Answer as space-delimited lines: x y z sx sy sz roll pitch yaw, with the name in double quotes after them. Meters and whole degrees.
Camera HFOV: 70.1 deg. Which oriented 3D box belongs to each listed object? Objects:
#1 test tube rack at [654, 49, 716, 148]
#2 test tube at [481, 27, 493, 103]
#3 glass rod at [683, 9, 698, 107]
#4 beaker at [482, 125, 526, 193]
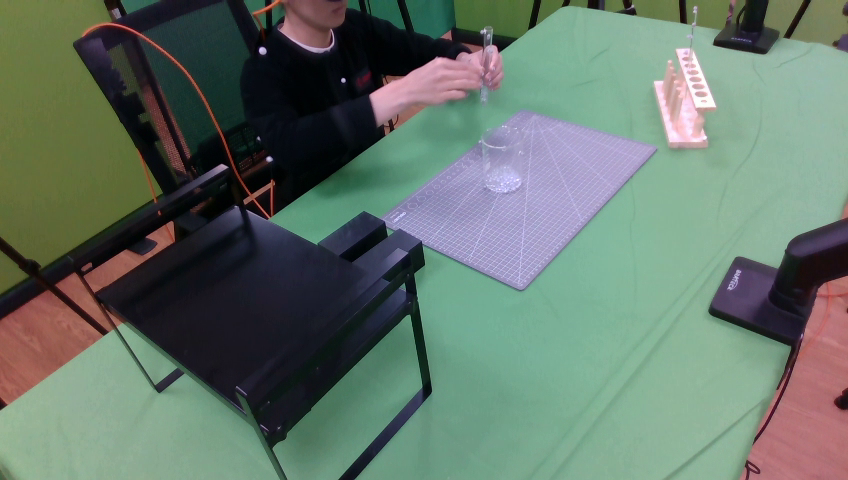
0.502 -0.281 1.176 0.066 0.085 0.241 2 41 11 "test tube rack"
0.116 -0.318 1.113 0.017 0.151 0.017 -1 46 1 "test tube"
0.501 -0.336 1.139 0.008 0.201 0.008 -8 42 8 "glass rod"
0.141 -0.141 1.055 0.073 0.101 0.084 11 43 20 "beaker"
